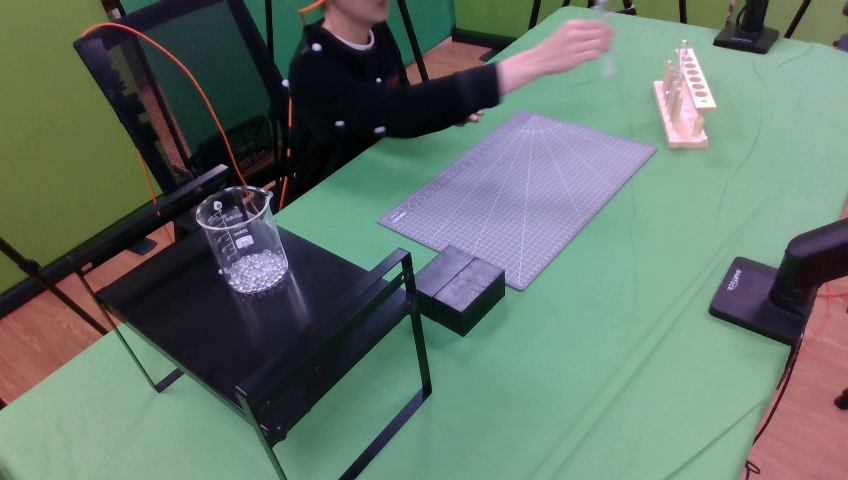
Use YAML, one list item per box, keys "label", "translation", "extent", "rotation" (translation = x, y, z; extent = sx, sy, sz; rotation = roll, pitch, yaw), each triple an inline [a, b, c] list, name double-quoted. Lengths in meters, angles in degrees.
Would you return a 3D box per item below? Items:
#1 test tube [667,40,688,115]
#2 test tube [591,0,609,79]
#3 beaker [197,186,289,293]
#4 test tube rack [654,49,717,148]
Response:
- label: "test tube"
  translation: [0.477, -0.303, 1.138]
  extent: [0.017, 0.151, 0.017]
  rotation: [-5, 42, 5]
- label: "test tube"
  translation: [0.294, -0.333, 1.005]
  extent: [0.017, 0.151, 0.017]
  rotation: [-12, 45, 13]
- label: "beaker"
  translation: [-0.192, 0.001, 0.666]
  extent: [0.084, 0.101, 0.073]
  rotation: [-33, 47, -27]
- label: "test tube rack"
  translation: [0.502, -0.281, 1.176]
  extent: [0.066, 0.085, 0.241]
  rotation: [1, 41, 11]
